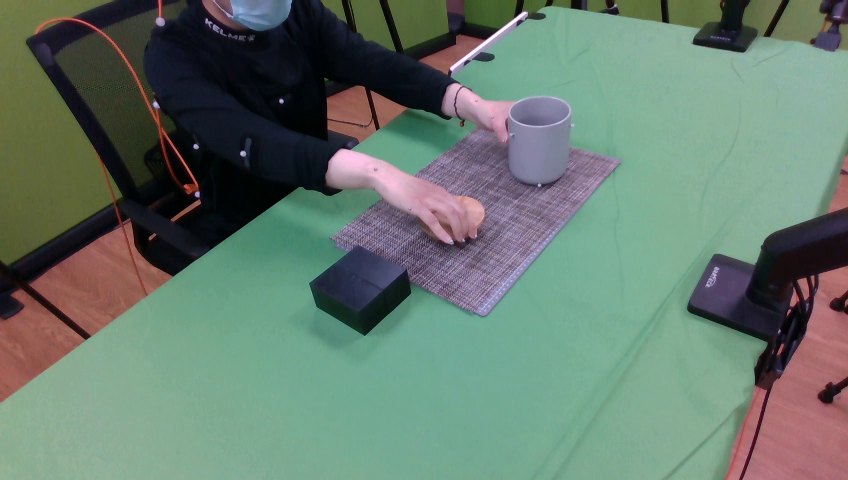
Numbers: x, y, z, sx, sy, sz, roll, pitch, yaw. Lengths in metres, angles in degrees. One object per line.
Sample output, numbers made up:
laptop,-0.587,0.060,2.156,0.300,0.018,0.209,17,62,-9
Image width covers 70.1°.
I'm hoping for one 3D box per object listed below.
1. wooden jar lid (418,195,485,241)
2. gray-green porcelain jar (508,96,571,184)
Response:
wooden jar lid,0.045,-0.035,0.973,0.108,0.021,0.108,-6,39,5
gray-green porcelain jar,0.199,-0.169,1.051,0.106,0.127,0.105,-4,41,4
